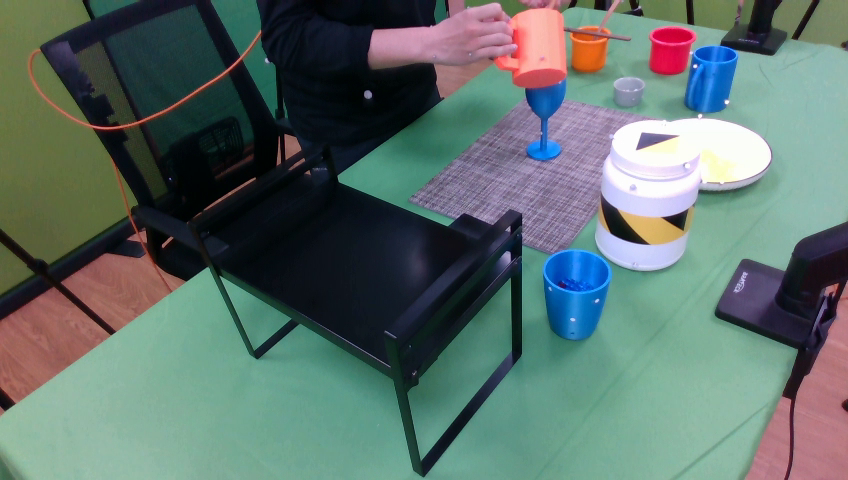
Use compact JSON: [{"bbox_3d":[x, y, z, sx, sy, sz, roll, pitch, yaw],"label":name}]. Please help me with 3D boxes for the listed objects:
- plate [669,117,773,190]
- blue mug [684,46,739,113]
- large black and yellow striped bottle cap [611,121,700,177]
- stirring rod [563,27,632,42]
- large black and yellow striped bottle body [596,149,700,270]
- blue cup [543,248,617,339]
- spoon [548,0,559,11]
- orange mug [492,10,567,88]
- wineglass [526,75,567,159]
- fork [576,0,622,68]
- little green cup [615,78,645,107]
[{"bbox_3d":[0.495,-0.148,1.063,0.209,0.038,0.208,-5,40,4],"label":"plate"},{"bbox_3d":[0.556,-0.310,1.190,0.117,0.106,0.081,-32,46,-25],"label":"blue mug"},{"bbox_3d":[0.315,-0.126,0.823,0.115,0.019,0.114,-4,42,4],"label":"large black and yellow striped bottle cap"},{"bbox_3d":[0.381,-0.462,1.356,0.175,0.006,0.014,23,48,30],"label":"stirring rod"},{"bbox_3d":[0.323,-0.062,0.877,0.131,0.185,0.130,-5,40,4],"label":"large black and yellow striped bottle body"},{"bbox_3d":[0.199,0.076,0.797,0.092,0.100,0.092,-4,39,4],"label":"blue cup"},{"bbox_3d":[0.205,-0.365,0.985,0.041,0.022,0.193,23,89,52],"label":"spoon"},{"bbox_3d":[0.167,-0.307,0.966,0.127,0.100,0.083,4,-7,-25],"label":"orange mug"},{"bbox_3d":[0.221,-0.237,1.097,0.074,0.173,0.073,-4,41,4],"label":"wineglass"},{"bbox_3d":[0.409,-0.484,1.380,0.028,0.019,0.207,37,101,46],"label":"fork"},{"bbox_3d":[0.426,-0.306,1.257,0.061,0.039,0.061,-4,40,4],"label":"little green cup"}]
